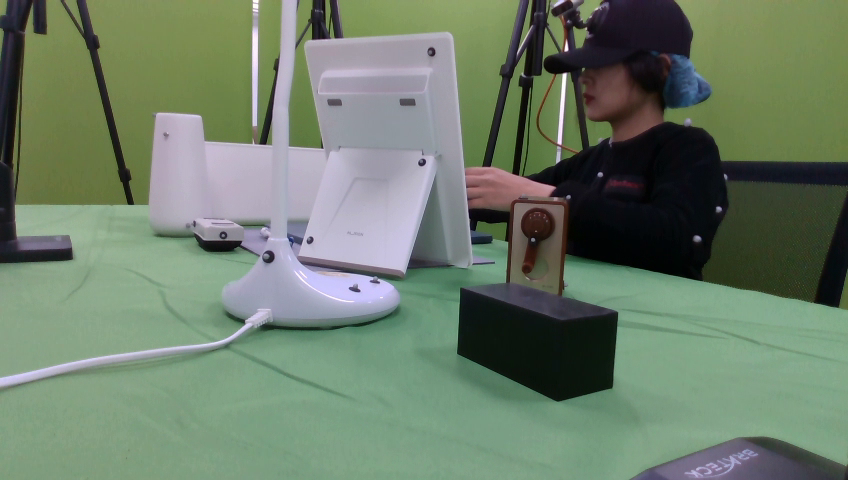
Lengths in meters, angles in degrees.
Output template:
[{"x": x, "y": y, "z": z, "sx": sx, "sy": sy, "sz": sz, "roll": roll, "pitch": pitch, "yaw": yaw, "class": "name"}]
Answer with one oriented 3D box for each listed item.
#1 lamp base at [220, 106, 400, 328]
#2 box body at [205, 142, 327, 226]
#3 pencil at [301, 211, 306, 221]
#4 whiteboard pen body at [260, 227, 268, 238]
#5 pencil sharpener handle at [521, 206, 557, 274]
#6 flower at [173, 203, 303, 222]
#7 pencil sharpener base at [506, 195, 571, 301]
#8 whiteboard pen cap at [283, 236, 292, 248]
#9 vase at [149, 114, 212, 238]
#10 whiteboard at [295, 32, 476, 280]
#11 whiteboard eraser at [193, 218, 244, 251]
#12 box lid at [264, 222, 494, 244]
[{"x": -0.102, "y": -0.023, "z": 0.531, "sx": 0.160, "sy": 0.180, "sz": 0.179, "roll": 4, "pitch": 10, "yaw": 10, "class": "lamp base"}, {"x": -0.363, "y": -0.123, "z": 1.293, "sx": 0.366, "sy": 0.160, "sz": 0.253, "roll": -2, "pitch": 9, "yaw": -32, "class": "box body"}, {"x": -0.268, "y": -0.056, "z": 1.351, "sx": 0.012, "sy": 0.012, "sz": 0.193, "roll": 1, "pitch": 6, "yaw": -10, "class": "pencil"}, {"x": -0.239, "y": -0.005, "z": 0.964, "sx": 0.017, "sy": 0.017, "sz": 0.140, "roll": -2, "pitch": 9, "yaw": -28, "class": "whiteboard pen body"}, {"x": 0.112, "y": 0.000, "z": 0.611, "sx": 0.036, "sy": 0.067, "sz": 0.031, "roll": 13, "pitch": 10, "yaw": 11, "class": "pencil sharpener handle"}, {"x": -0.382, "y": -0.061, "z": 1.309, "sx": 0.044, "sy": 0.038, "sz": 0.363, "roll": 0, "pitch": 3, "yaw": 29, "class": "flower"}, {"x": 0.126, "y": 0.007, "z": 0.662, "sx": 0.061, "sy": 0.107, "sz": 0.077, "roll": 4, "pitch": 8, "yaw": 13, "class": "pencil sharpener base"}, {"x": -0.211, "y": 0.003, "z": 0.913, "sx": 0.018, "sy": 0.018, "sz": 0.033, "roll": -2, "pitch": 6, "yaw": -28, "class": "whiteboard pen cap"}, {"x": -0.405, "y": -0.106, "z": 1.006, "sx": 0.098, "sy": 0.200, "sz": 0.098, "roll": 2, "pitch": 6, "yaw": 0, "class": "vase"}, {"x": -0.076, "y": -0.084, "z": 0.747, "sx": 0.216, "sy": 0.305, "sz": 0.144, "roll": 7, "pitch": 28, "yaw": 29, "class": "whiteboard"}, {"x": -0.307, "y": -0.010, "z": 0.900, "sx": 0.056, "sy": 0.042, "sz": 0.112, "roll": -4, "pitch": 10, "yaw": -28, "class": "whiteboard eraser"}, {"x": -0.081, "y": -0.014, "z": 1.117, "sx": 0.373, "sy": 0.015, "sz": 0.262, "roll": -2, "pitch": 9, "yaw": -32, "class": "box lid"}]
